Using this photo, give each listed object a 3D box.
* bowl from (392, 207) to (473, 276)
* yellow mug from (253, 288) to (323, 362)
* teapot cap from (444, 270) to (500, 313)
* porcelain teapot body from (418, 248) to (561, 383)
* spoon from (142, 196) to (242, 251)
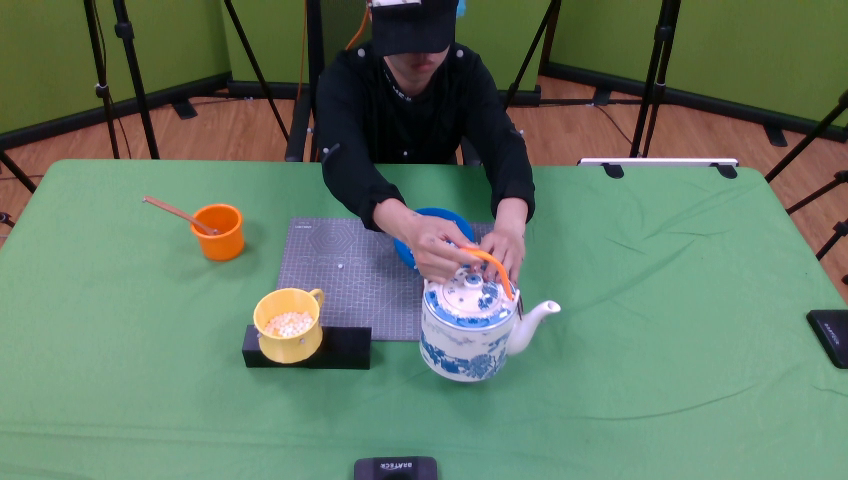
[{"bbox_3d":[0.014,0.016,1.140,0.151,0.077,0.150,2,47,-2],"label":"bowl"},{"bbox_3d":[-0.205,0.124,0.963,0.099,0.064,0.130,27,48,20],"label":"yellow mug"},{"bbox_3d":[0.071,0.072,0.895,0.085,0.044,0.084,4,41,-3],"label":"teapot cap"},{"bbox_3d":[0.096,0.107,0.916,0.205,0.226,0.144,10,41,7],"label":"porcelain teapot body"},{"bbox_3d":[-0.421,-0.032,1.108,0.021,0.195,0.041,-32,40,28],"label":"spoon"}]
